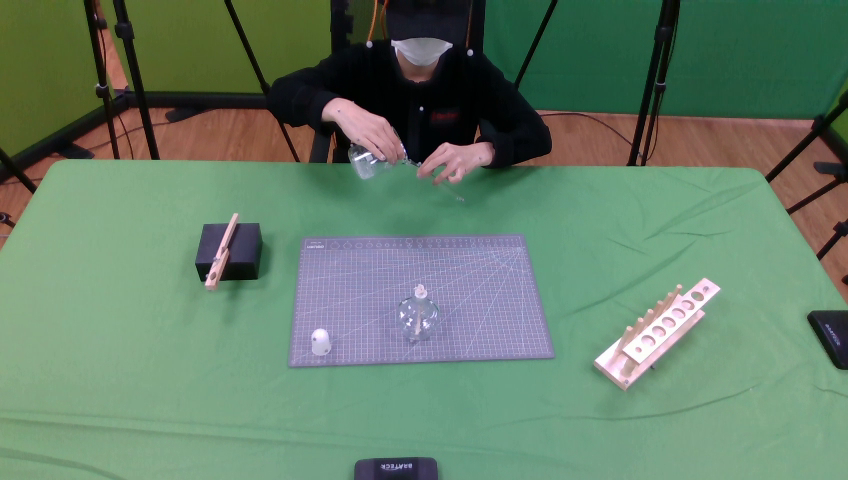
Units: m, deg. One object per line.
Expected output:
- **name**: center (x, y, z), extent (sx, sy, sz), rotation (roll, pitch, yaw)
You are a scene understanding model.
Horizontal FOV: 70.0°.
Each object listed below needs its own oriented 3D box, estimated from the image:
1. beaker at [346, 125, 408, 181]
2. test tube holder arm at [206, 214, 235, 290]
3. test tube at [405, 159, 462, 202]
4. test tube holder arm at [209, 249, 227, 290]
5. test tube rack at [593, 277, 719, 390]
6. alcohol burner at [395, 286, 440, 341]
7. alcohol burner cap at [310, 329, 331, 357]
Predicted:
- **beaker**: center (-0.090, -0.162, 1.165), extent (0.100, 0.084, 0.073), rotation (-24, 31, 6)
- **test tube holder arm**: center (-0.364, 0.017, 1.090), extent (0.013, 0.015, 0.177), rotation (7, 45, -8)
- **test tube**: center (0.021, -0.118, 1.218), extent (0.151, 0.017, 0.017), rotation (32, 36, -31)
- **test tube holder arm**: center (-0.359, 0.050, 1.059), extent (0.010, 0.015, 0.087), rotation (8, 45, -8)
- **test tube rack**: center (0.401, 0.148, 1.043), extent (0.242, 0.085, 0.066), rotation (-30, 55, -29)
- **alcohol burner**: center (-0.010, 0.116, 1.018), extent (0.078, 0.119, 0.077), rotation (3, 47, -3)
- **alcohol burner cap**: center (-0.173, 0.168, 1.005), extent (0.034, 0.048, 0.033), rotation (2, 46, -2)
